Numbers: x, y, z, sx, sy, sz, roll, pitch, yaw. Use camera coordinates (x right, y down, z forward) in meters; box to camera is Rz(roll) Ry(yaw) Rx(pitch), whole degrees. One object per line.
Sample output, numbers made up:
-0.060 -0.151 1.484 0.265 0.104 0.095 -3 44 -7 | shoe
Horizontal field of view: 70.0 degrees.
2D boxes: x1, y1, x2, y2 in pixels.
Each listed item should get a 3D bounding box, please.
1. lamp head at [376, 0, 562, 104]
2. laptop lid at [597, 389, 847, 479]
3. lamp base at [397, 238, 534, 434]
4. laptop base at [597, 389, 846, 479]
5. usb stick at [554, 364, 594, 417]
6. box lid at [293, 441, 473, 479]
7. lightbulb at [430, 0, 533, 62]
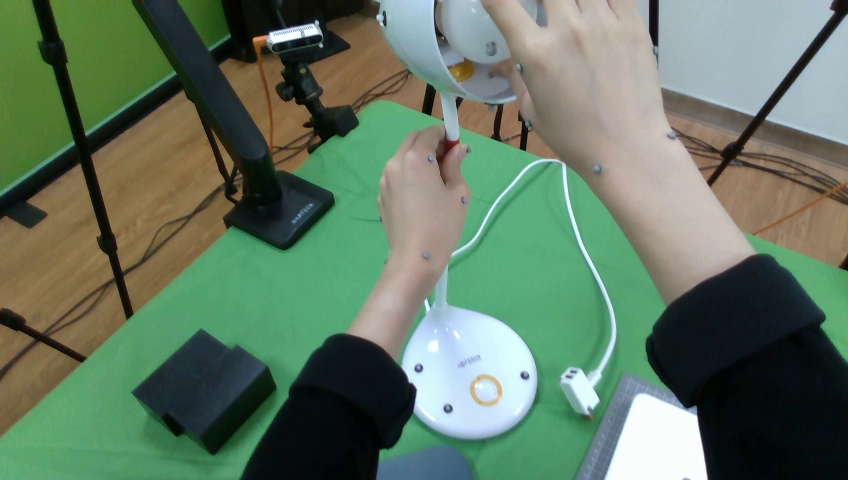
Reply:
0.020 -0.156 0.437 0.112 0.113 0.122 -31 25 -23 | lamp head
0.332 0.306 0.566 0.354 0.013 0.240 23 56 20 | laptop lid
0.039 0.094 0.661 0.161 0.182 0.177 -30 52 -23 | lamp base
0.333 0.312 0.576 0.352 0.023 0.234 22 57 18 | laptop base
0.171 0.171 0.681 0.027 0.059 0.021 -35 14 -31 | usb stick
-0.040 0.374 0.533 0.264 0.015 0.367 -13 51 -10 | box lid
0.030 -0.151 0.406 0.059 0.060 0.106 -22 26 -17 | lightbulb
